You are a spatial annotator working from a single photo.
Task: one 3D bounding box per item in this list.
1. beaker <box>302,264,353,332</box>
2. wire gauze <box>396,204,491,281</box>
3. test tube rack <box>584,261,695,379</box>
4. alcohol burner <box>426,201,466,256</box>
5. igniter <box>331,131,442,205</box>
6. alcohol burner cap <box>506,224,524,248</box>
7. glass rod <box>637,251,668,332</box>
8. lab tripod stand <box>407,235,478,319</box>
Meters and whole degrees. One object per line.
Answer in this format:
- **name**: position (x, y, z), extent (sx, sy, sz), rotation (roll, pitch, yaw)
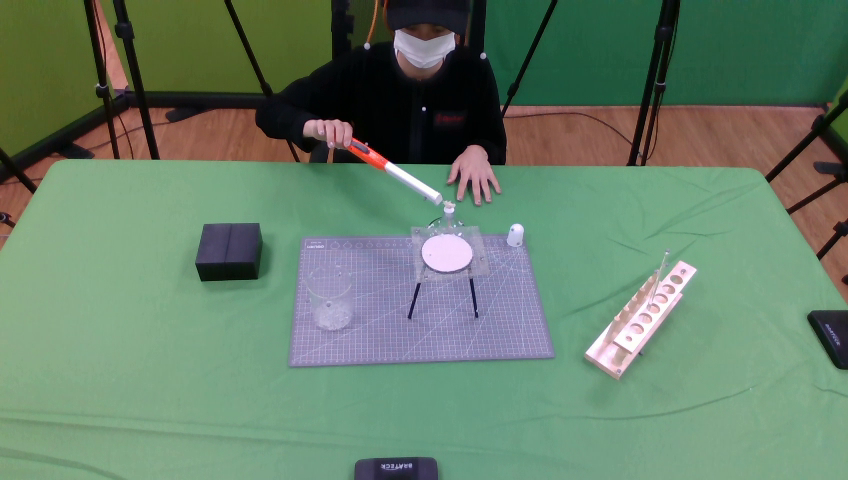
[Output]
- **beaker**: position (-0.162, 0.101, 1.030), extent (0.084, 0.101, 0.073), rotation (4, 46, 0)
- **wire gauze**: position (0.032, 0.004, 0.999), extent (0.125, 0.011, 0.120), rotation (-22, 54, -14)
- **test tube rack**: position (0.380, 0.127, 1.062), extent (0.066, 0.085, 0.242), rotation (34, 53, 26)
- **alcohol burner**: position (0.043, -0.026, 1.161), extent (0.078, 0.120, 0.077), rotation (1, 47, -1)
- **igniter**: position (-0.079, -0.144, 1.172), extent (0.275, 0.057, 0.025), rotation (33, 78, 23)
- **alcohol burner cap**: position (0.183, -0.010, 1.206), extent (0.034, 0.048, 0.033), rotation (1, 46, -1)
- **glass rod**: position (0.378, 0.090, 1.005), extent (0.008, 0.201, 0.008), rotation (-1, 44, 1)
- **lab tripod stand**: position (0.032, 0.065, 1.057), extent (0.148, 0.132, 0.147), rotation (1, 45, -1)
